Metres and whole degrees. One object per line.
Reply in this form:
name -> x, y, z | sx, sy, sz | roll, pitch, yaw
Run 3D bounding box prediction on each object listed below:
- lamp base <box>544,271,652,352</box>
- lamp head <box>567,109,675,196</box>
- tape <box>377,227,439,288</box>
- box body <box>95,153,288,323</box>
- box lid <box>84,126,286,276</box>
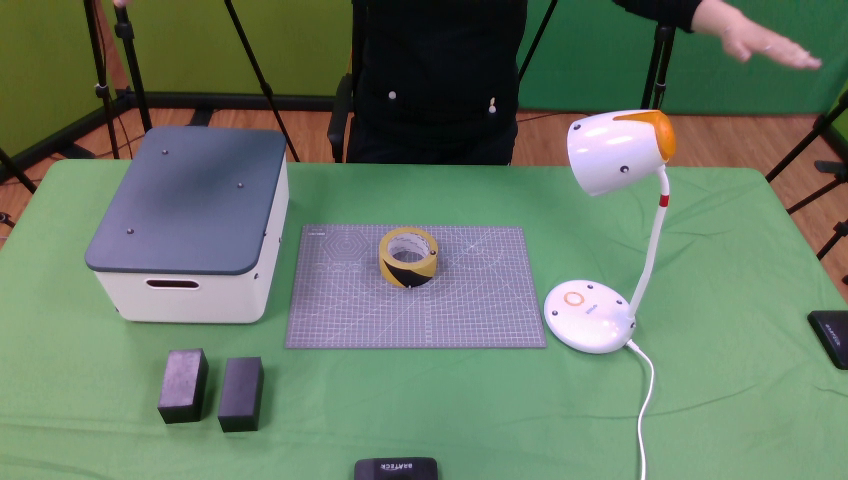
lamp base -> 0.310, 0.086, 1.029 | 0.178, 0.181, 0.160 | 32, 52, 21
lamp head -> 0.272, -0.123, 0.818 | 0.122, 0.113, 0.112 | -9, 35, 37
tape -> -0.031, 0.032, 1.140 | 0.117, 0.053, 0.116 | 2, 46, -2
box body -> -0.396, -0.031, 1.100 | 0.254, 0.161, 0.361 | 1, 46, -3
box lid -> -0.393, -0.081, 1.046 | 0.263, 0.015, 0.369 | 2, 46, -3
